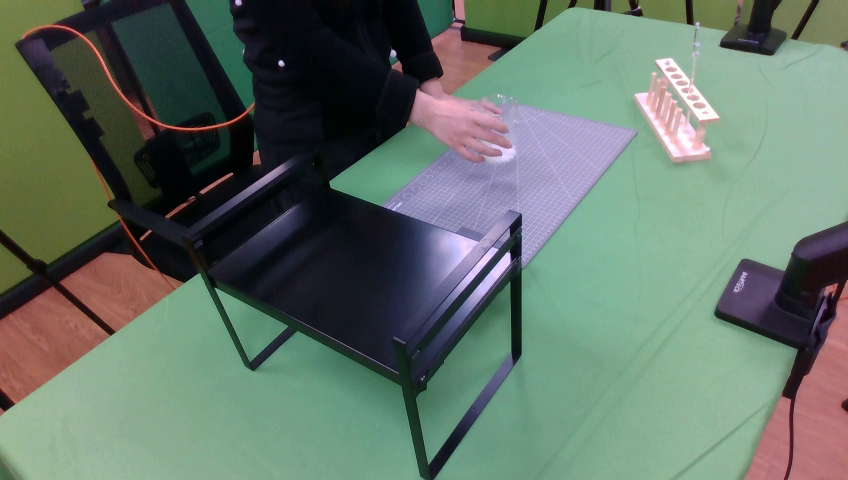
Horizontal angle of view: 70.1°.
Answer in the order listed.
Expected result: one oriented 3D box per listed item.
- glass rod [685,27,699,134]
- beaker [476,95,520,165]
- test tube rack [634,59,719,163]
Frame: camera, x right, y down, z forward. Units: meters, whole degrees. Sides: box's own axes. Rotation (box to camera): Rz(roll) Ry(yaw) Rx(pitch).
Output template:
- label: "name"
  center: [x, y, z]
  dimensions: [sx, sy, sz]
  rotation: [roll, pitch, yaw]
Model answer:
- label: "glass rod"
  center: [0.478, -0.279, 1.078]
  dimensions: [0.008, 0.200, 0.008]
  rotation: [-7, 35, 5]
- label: "beaker"
  center: [0.129, -0.188, 1.038]
  dimensions: [0.073, 0.100, 0.084]
  rotation: [12, 43, 20]
- label: "test tube rack"
  center: [0.470, -0.250, 1.148]
  dimensions: [0.067, 0.085, 0.241]
  rotation: [-6, 40, 3]
